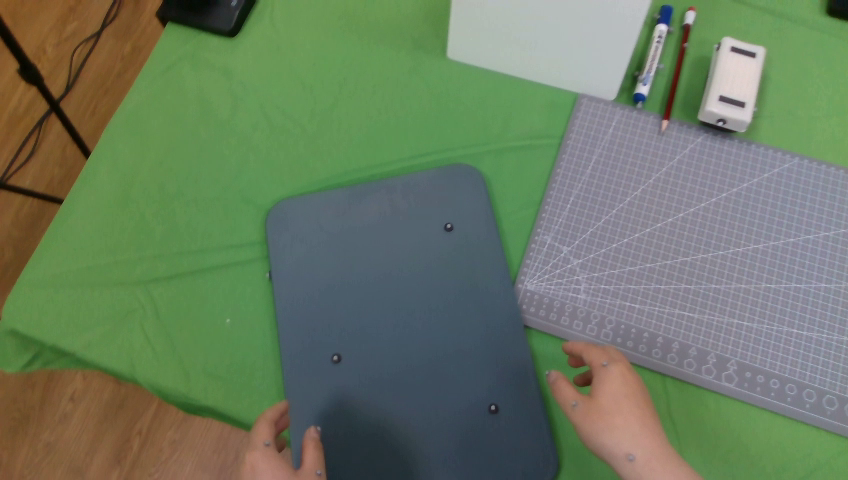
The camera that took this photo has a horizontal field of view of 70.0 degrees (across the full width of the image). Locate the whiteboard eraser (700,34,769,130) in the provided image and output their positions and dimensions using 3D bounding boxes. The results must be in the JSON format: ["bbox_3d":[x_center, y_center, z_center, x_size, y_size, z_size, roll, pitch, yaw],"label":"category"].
[{"bbox_3d":[0.365,-0.185,0.715,0.055,0.042,0.112,18,73,10],"label":"whiteboard eraser"}]

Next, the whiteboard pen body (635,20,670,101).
[{"bbox_3d":[0.285,-0.232,0.746,0.017,0.017,0.140,20,73,10],"label":"whiteboard pen body"}]

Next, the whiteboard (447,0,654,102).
[{"bbox_3d":[0.164,-0.342,0.670,0.216,0.308,0.143,19,53,9],"label":"whiteboard"}]

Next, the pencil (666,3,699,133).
[{"bbox_3d":[0.315,-0.212,0.742,0.012,0.012,0.193,16,73,8],"label":"pencil"}]

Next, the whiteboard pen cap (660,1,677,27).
[{"bbox_3d":[0.308,-0.283,0.762,0.018,0.018,0.033,18,71,9],"label":"whiteboard pen cap"}]

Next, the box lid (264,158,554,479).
[{"bbox_3d":[-0.027,0.091,0.652,0.263,0.015,0.368,-11,71,-1],"label":"box lid"}]
